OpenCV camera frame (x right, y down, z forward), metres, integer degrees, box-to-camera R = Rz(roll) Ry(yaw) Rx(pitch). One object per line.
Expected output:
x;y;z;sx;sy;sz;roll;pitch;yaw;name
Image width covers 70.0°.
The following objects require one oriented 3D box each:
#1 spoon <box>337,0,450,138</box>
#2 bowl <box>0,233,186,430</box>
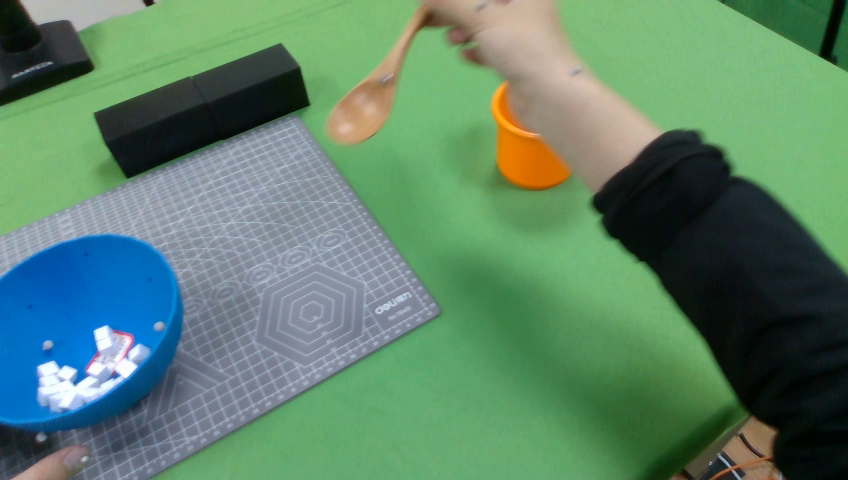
0.004;-0.151;0.423;0.041;0.022;0.194;40;99;25;spoon
-0.241;0.076;0.447;0.151;0.077;0.150;-2;53;3;bowl
